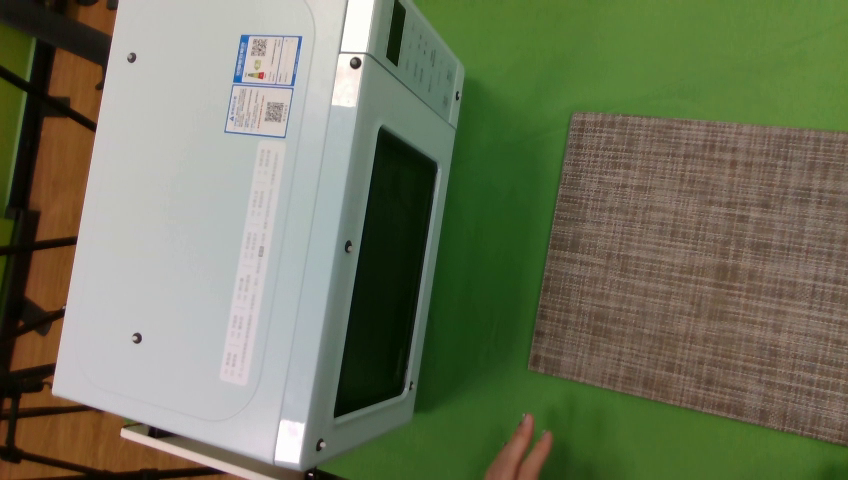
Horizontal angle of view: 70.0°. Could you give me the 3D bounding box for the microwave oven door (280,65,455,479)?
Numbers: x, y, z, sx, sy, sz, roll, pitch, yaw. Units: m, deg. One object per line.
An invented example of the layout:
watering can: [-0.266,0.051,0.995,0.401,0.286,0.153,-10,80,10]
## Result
microwave oven door: [-0.045,0.036,0.618,0.039,0.245,0.355,7,87,22]

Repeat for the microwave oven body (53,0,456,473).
microwave oven body: [-0.171,-0.022,0.678,0.324,0.261,0.441,7,88,21]

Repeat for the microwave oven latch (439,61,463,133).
microwave oven latch: [0.027,-0.170,0.720,0.030,0.029,0.079,9,89,21]
